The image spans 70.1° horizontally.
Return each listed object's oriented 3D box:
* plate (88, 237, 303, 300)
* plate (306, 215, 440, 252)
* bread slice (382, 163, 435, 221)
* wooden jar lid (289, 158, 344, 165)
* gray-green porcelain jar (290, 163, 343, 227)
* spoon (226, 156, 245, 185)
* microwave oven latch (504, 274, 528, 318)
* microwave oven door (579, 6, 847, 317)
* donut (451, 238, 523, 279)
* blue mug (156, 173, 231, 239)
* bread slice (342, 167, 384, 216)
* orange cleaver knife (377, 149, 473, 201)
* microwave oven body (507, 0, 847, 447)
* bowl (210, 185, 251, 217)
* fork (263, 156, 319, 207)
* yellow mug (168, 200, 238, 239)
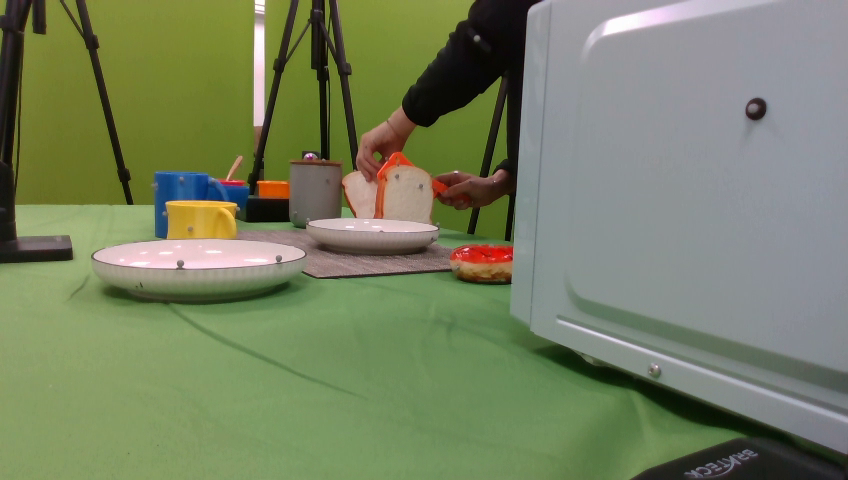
[{"bbox_3d":[-0.233,0.029,0.637,0.208,0.039,0.207,2,7,0],"label":"plate"},{"bbox_3d":[-0.079,-0.011,0.950,0.209,0.038,0.209,2,8,0],"label":"plate"},{"bbox_3d":[-0.031,-0.075,1.120,0.107,0.134,0.018,-3,5,-25],"label":"bread slice"},{"bbox_3d":[-0.215,-0.153,1.212,0.108,0.020,0.108,2,5,0],"label":"wooden jar lid"},{"bbox_3d":[-0.217,-0.091,1.221,0.106,0.126,0.106,2,7,0],"label":"gray-green porcelain jar"},{"bbox_3d":[-0.477,-0.145,1.492,0.041,0.022,0.193,-1,51,13],"label":"spoon"},{"bbox_3d":[0.100,0.041,0.471,0.079,0.029,0.030,-1,8,-28],"label":"microwave oven latch"},{"bbox_3d":[0.294,-0.067,0.570,0.358,0.243,0.039,-3,9,-31],"label":"microwave oven door"},{"bbox_3d":[0.082,0.022,0.745,0.099,0.048,0.099,1,5,0],"label":"donut"},{"bbox_3d":[-0.381,-0.057,1.004,0.117,0.106,0.082,1,8,-12],"label":"blue mug"},{"bbox_3d":[-0.104,-0.087,1.212,0.105,0.131,0.019,-17,-21,-28],"label":"bread slice"},{"bbox_3d":[0.005,-0.107,1.187,0.212,0.077,0.012,25,-6,-28],"label":"orange cleaver knife"},{"bbox_3d":[0.331,-0.042,0.425,0.444,0.260,0.324,-2,8,-31],"label":"microwave oven body"},{"bbox_3d":[-0.408,-0.064,1.155,0.151,0.077,0.151,2,8,0],"label":"bowl"},{"bbox_3d":[-0.331,-0.144,1.505,0.207,0.018,0.028,-42,-20,22],"label":"fork"},{"bbox_3d":[-0.320,-0.023,0.904,0.130,0.064,0.100,9,11,36],"label":"yellow mug"}]
